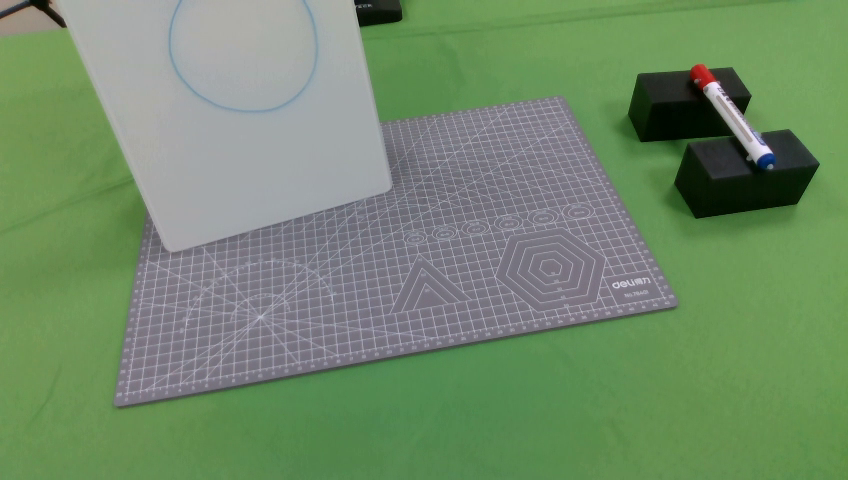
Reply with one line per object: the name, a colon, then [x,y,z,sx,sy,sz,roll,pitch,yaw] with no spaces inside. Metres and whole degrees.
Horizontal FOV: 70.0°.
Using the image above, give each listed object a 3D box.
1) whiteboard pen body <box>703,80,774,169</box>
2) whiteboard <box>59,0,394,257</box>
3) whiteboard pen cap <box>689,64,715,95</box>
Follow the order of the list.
whiteboard pen body: [0.286,-0.117,0.565,0.017,0.017,0.139,-7,50,-3]
whiteboard: [-0.173,-0.175,0.551,0.217,0.308,0.142,-17,31,-11]
whiteboard pen cap: [0.278,-0.160,0.602,0.017,0.017,0.032,-7,51,-3]
